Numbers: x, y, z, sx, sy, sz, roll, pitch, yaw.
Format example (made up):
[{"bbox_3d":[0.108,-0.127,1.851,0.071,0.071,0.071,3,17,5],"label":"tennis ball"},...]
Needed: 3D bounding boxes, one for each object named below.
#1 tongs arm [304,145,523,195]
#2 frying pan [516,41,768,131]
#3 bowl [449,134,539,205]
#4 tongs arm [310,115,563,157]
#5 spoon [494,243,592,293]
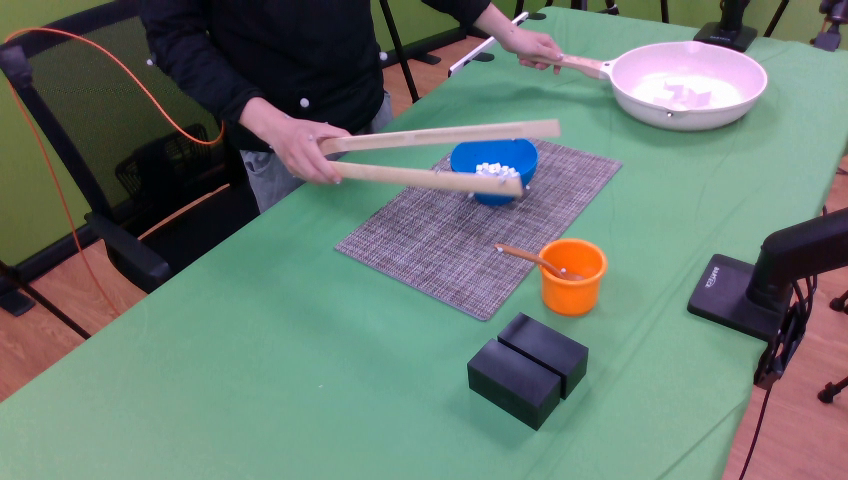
[{"bbox_3d":[-0.031,-0.100,0.821,0.382,0.027,0.051,8,46,35],"label":"tongs arm"},{"bbox_3d":[0.424,-0.338,1.236,0.486,0.103,0.307,19,45,15],"label":"frying pan"},{"bbox_3d":[0.120,-0.114,1.034,0.151,0.077,0.150,-4,41,4],"label":"bowl"},{"bbox_3d":[0.005,-0.149,0.869,0.385,0.028,0.028,-1,45,25],"label":"tongs arm"},{"bbox_3d":[0.162,0.034,0.808,0.021,0.195,0.041,-47,40,21],"label":"spoon"}]
